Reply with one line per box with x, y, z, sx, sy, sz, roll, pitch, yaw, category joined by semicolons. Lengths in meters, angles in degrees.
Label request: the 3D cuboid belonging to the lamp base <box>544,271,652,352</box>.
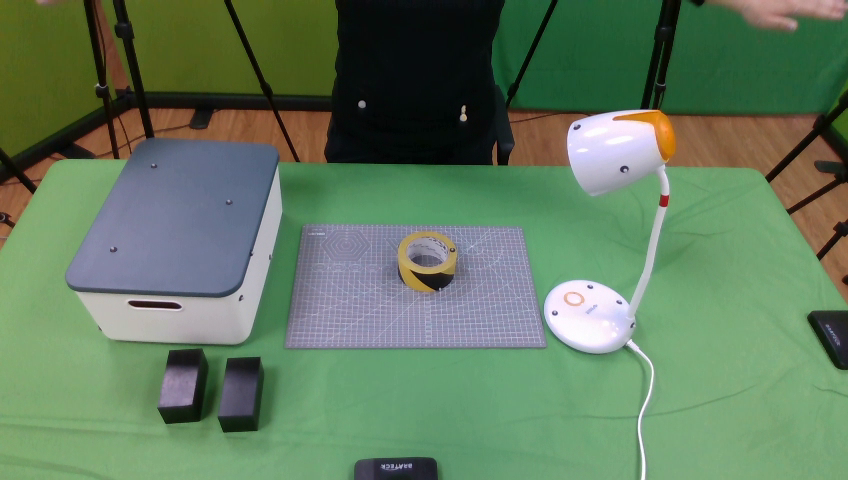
0.309;0.086;1.029;0.178;0.181;0.160;32;52;21;lamp base

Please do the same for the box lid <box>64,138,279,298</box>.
-0.404;-0.051;1.016;0.263;0.015;0.369;3;46;-2;box lid

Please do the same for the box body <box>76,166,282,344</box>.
-0.406;-0.002;1.071;0.254;0.161;0.361;2;46;-2;box body

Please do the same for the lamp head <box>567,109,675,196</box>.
0.272;-0.123;0.818;0.122;0.113;0.112;-9;35;37;lamp head

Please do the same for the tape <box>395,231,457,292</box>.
0.005;0.039;1.136;0.117;0.053;0.116;2;46;-1;tape
